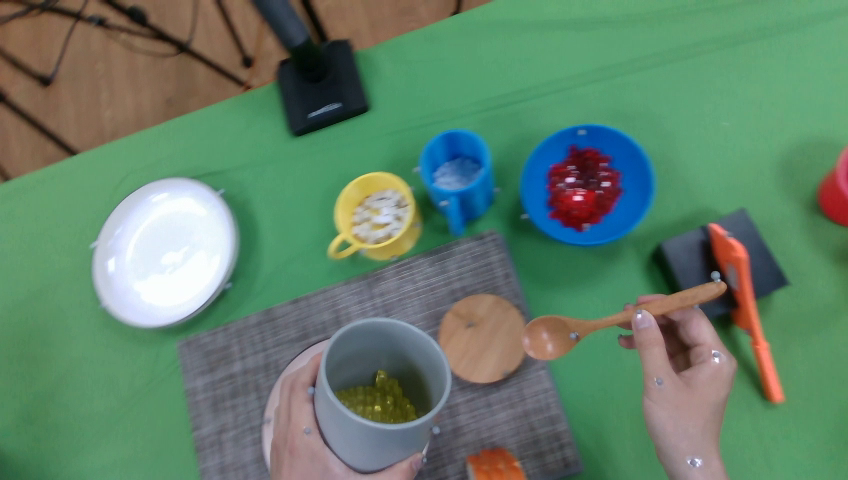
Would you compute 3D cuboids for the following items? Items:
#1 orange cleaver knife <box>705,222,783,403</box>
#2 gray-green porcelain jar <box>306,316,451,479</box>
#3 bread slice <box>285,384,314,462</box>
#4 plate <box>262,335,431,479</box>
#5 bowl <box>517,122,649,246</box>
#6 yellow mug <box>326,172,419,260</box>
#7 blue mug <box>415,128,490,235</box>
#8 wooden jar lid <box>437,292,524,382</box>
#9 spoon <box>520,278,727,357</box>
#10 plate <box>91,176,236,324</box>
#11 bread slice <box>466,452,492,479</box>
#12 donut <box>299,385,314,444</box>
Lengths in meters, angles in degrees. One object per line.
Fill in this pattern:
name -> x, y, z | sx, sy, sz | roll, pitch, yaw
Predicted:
orange cleaver knife -> 0.352, 0.080, 0.671 | 0.012, 0.077, 0.212 | -22, 102, 4
gray-green porcelain jar -> -0.044, 0.144, 0.516 | 0.106, 0.127, 0.105 | 10, 42, -9
bread slice -> -0.103, 0.220, 0.735 | 0.131, 0.019, 0.104 | -6, 74, 4
plate -> -0.091, 0.217, 0.730 | 0.209, 0.038, 0.208 | -2, 75, 9
bowl -> 0.190, -0.058, 0.739 | 0.151, 0.077, 0.150 | -2, 75, 9
yellow mug -> -0.074, -0.020, 0.780 | 0.131, 0.064, 0.099 | -40, 71, -1
blue mug -> 0.038, -0.064, 0.753 | 0.082, 0.106, 0.116 | 0, 75, 10
wooden jar lid -> 0.070, 0.118, 0.739 | 0.108, 0.021, 0.108 | -2, 76, 9
spoon -> 0.160, 0.066, 0.515 | 0.193, 0.022, 0.041 | -26, 82, 45
plate -> -0.353, 0.014, 0.834 | 0.207, 0.039, 0.206 | -2, 75, 9
bread slice -> 0.064, 0.280, 0.640 | 0.018, 0.135, 0.106 | -11, 71, -2
donut -> -0.096, 0.207, 0.705 | 0.099, 0.048, 0.098 | -2, 75, 6
